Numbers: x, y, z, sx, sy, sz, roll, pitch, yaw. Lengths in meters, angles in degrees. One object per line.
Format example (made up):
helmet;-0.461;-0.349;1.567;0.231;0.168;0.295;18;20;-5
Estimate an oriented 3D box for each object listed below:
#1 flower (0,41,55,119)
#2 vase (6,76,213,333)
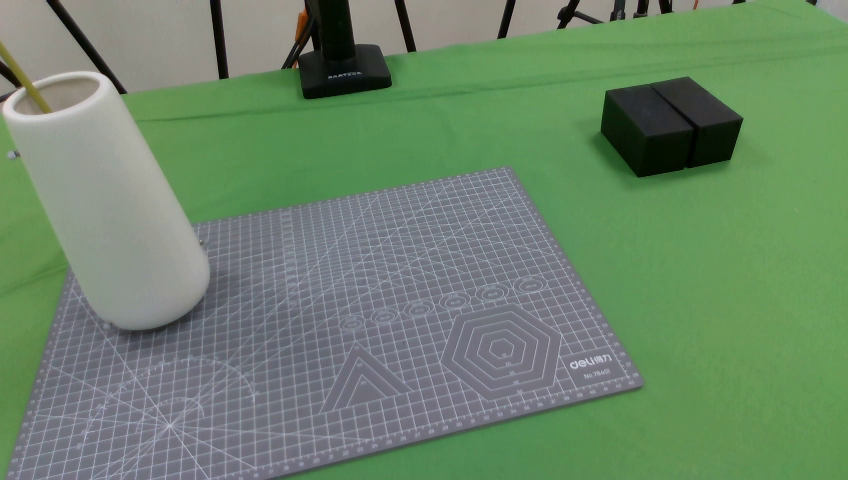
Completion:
flower;-0.258;-0.085;0.421;0.044;0.365;0.038;-39;35;-25
vase;-0.235;-0.021;0.470;0.098;0.202;0.097;-2;40;2
